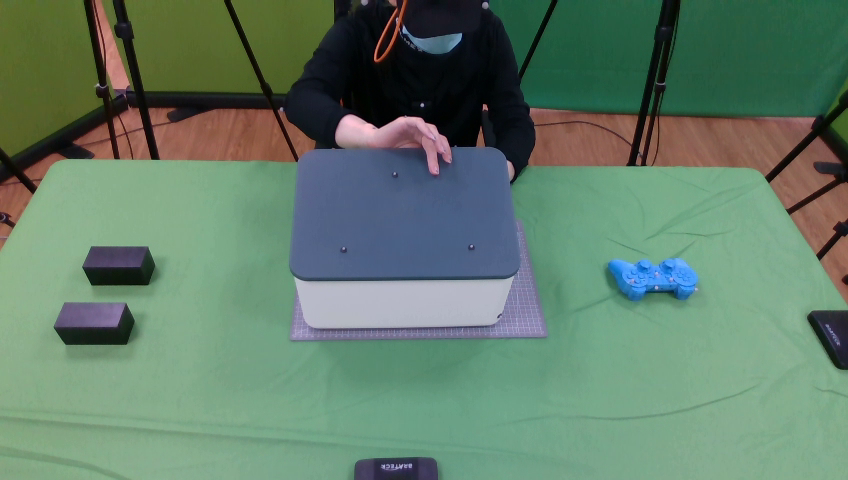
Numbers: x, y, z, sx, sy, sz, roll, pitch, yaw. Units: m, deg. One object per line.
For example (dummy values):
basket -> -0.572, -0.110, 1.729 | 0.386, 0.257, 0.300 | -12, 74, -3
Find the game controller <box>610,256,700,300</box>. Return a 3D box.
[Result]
game controller -> 0.441, 0.063, 1.144 | 0.155, 0.052, 0.096 | -1, 50, -4

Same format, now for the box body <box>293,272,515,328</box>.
box body -> -0.036, 0.015, 1.075 | 0.364, 0.161, 0.252 | -1, 47, -4

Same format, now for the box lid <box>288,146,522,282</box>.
box lid -> -0.029, -0.050, 1.001 | 0.372, 0.015, 0.261 | -1, 59, -4
